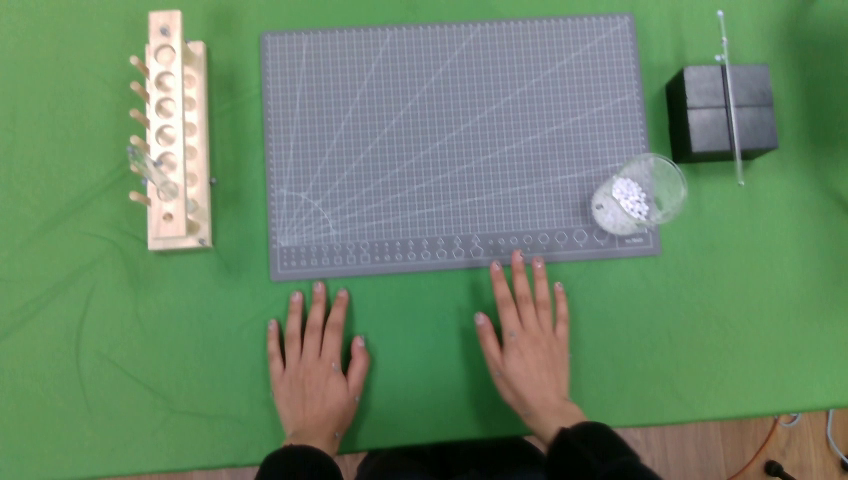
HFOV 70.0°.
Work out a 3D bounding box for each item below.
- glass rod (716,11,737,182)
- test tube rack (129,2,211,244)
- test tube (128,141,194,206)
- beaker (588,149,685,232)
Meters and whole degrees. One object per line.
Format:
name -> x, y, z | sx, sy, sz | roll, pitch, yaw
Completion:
glass rod -> 0.339, -0.162, 0.679 | 0.008, 0.008, 0.199 | -2, 84, -2
test tube rack -> -0.281, -0.122, 0.659 | 0.067, 0.085, 0.241 | -4, 83, -2
test tube -> -0.257, -0.062, 0.603 | 0.017, 0.151, 0.017 | 1, 75, -4
beaker -> 0.223, -0.049, 0.660 | 0.084, 0.100, 0.074 | -2, 82, -1
